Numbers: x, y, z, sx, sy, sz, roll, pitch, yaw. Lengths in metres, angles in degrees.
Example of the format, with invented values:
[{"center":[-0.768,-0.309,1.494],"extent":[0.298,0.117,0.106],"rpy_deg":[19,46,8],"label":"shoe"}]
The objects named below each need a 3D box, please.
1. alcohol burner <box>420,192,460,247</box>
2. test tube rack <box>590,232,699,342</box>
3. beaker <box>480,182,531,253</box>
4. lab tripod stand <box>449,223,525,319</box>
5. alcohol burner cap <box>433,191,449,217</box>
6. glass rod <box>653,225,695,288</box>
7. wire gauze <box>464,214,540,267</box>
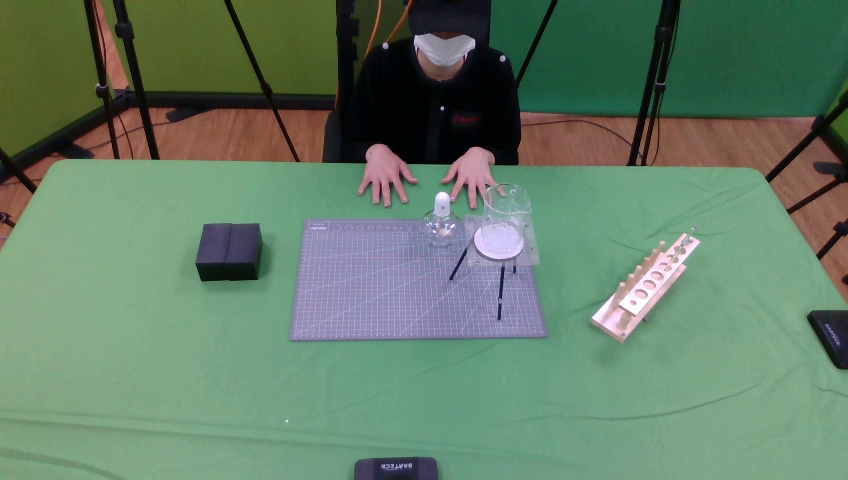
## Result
[{"center":[0.032,-0.045,1.176],"extent":[0.078,0.120,0.077],"rpy_deg":[2,44,-1],"label":"alcohol burner"},{"center":[0.407,0.074,1.112],"extent":[0.066,0.085,0.242],"rpy_deg":[35,53,26],"label":"test tube rack"},{"center":[0.133,-0.033,0.998],"extent":[0.083,0.101,0.074],"rpy_deg":[26,51,22],"label":"beaker"},{"center":[0.120,0.046,1.080],"extent":[0.148,0.132,0.147],"rpy_deg":[1,47,-1],"label":"lab tripod stand"},{"center":[0.033,-0.070,1.150],"extent":[0.034,0.048,0.033],"rpy_deg":[0,45,0],"label":"alcohol burner cap"},{"center":[0.432,0.037,1.057],"extent":[0.008,0.200,0.008],"rpy_deg":[1,54,-1],"label":"glass rod"},{"center":[0.131,-0.001,1.035],"extent":[0.121,0.011,0.124],"rpy_deg":[1,44,-3],"label":"wire gauze"}]
